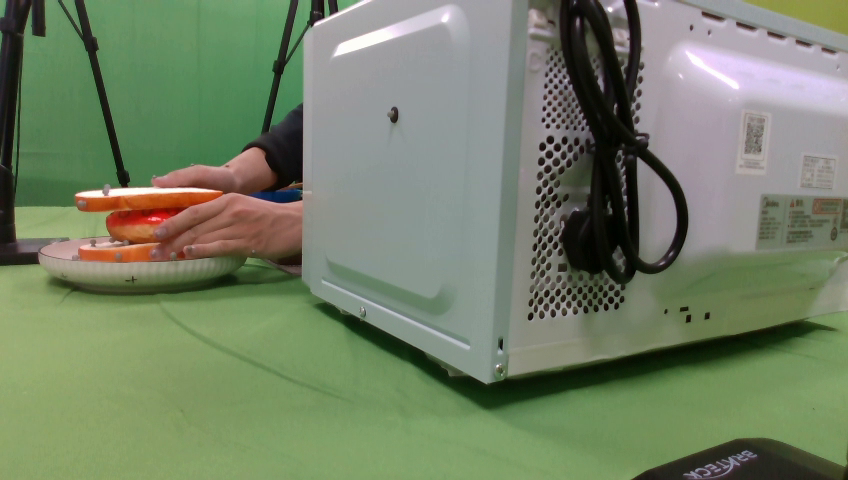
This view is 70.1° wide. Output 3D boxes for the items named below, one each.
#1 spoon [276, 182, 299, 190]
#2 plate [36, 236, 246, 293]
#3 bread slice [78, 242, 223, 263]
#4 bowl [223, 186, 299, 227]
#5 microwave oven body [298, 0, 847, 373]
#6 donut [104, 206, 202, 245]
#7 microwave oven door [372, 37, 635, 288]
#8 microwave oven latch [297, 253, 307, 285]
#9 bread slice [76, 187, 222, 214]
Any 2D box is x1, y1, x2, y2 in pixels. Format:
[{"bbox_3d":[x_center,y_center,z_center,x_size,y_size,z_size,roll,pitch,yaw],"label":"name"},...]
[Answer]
[{"bbox_3d":[-0.300,-0.103,1.266,0.194,0.021,0.041,-23,12,-24],"label":"spoon"},{"bbox_3d":[-0.305,0.026,0.669,0.208,0.039,0.207,3,7,0],"label":"plate"},{"bbox_3d":[-0.304,0.013,0.667,0.132,0.019,0.104,-5,4,-43],"label":"bread slice"},{"bbox_3d":[-0.330,-0.068,1.230,0.151,0.077,0.151,3,7,0],"label":"bowl"},{"bbox_3d":[0.151,-0.055,0.542,0.444,0.260,0.324,-2,7,-33],"label":"microwave oven body"},{"bbox_3d":[-0.300,-0.017,0.674,0.099,0.048,0.099,2,4,0],"label":"donut"},{"bbox_3d":[0.110,-0.080,0.686,0.358,0.243,0.039,-2,8,-33],"label":"microwave oven door"},{"bbox_3d":[-0.082,0.027,0.582,0.079,0.029,0.030,-1,7,-32],"label":"microwave oven latch"},{"bbox_3d":[-0.305,-0.045,0.666,0.106,0.018,0.135,7,13,44],"label":"bread slice"}]
